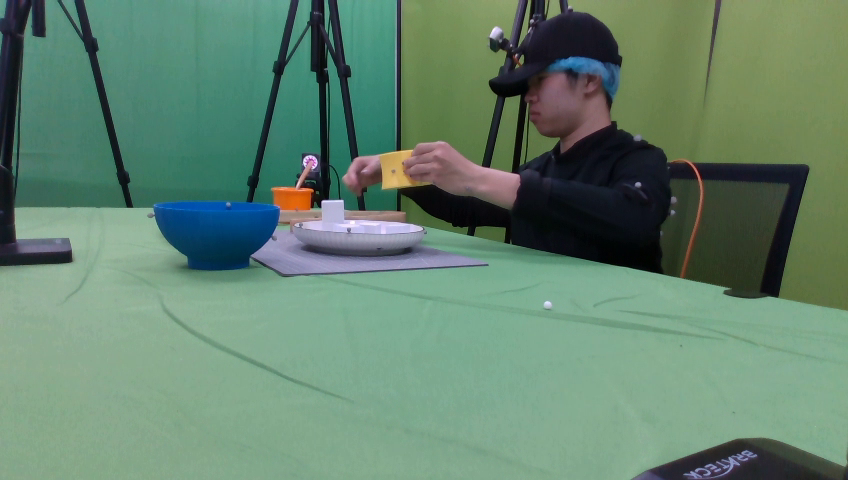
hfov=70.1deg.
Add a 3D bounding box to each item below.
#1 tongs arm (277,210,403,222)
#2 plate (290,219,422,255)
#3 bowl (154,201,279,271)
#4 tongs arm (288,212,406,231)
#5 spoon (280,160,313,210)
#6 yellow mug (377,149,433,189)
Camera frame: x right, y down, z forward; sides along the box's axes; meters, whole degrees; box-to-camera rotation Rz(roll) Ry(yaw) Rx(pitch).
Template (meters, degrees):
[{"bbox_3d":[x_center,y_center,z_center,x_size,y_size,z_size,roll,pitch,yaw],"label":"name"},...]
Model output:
[{"bbox_3d":[-0.206,-0.052,1.332,0.387,0.026,0.050,-2,8,-44],"label":"tongs arm"},{"bbox_3d":[-0.107,-0.005,0.963,0.208,0.039,0.207,3,7,0],"label":"plate"},{"bbox_3d":[-0.263,-0.005,0.773,0.151,0.077,0.151,3,8,0],"label":"bowl"},{"bbox_3d":[-0.146,-0.041,1.280,0.028,0.028,0.389,3,5,33],"label":"tongs arm"},{"bbox_3d":[-0.286,-0.118,1.372,0.041,0.193,0.022,3,-37,18],"label":"spoon"},{"bbox_3d":[-0.029,-0.133,1.126,0.100,0.064,0.130,-8,5,-24],"label":"yellow mug"}]
